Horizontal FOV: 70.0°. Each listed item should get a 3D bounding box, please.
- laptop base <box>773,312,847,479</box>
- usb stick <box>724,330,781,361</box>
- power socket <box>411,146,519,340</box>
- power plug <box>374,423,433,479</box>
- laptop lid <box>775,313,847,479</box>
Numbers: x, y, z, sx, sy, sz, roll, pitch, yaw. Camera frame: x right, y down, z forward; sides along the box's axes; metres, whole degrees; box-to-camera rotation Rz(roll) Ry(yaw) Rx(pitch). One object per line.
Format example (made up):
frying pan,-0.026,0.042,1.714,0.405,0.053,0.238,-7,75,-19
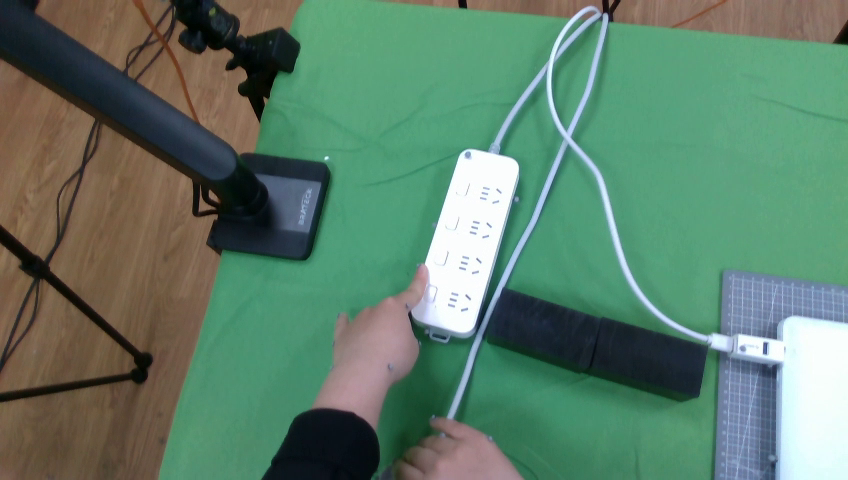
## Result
laptop base,0.507,0.207,0.562,0.354,0.023,0.234,9,75,7
usb stick,0.331,0.106,0.597,0.059,0.027,0.021,10,74,5
power socket,0.047,-0.003,0.660,0.072,0.033,0.225,15,72,9
power plug,-0.017,0.218,0.591,0.072,0.053,0.035,-27,79,-41
laptop lid,0.506,0.206,0.551,0.356,0.013,0.240,10,74,8
